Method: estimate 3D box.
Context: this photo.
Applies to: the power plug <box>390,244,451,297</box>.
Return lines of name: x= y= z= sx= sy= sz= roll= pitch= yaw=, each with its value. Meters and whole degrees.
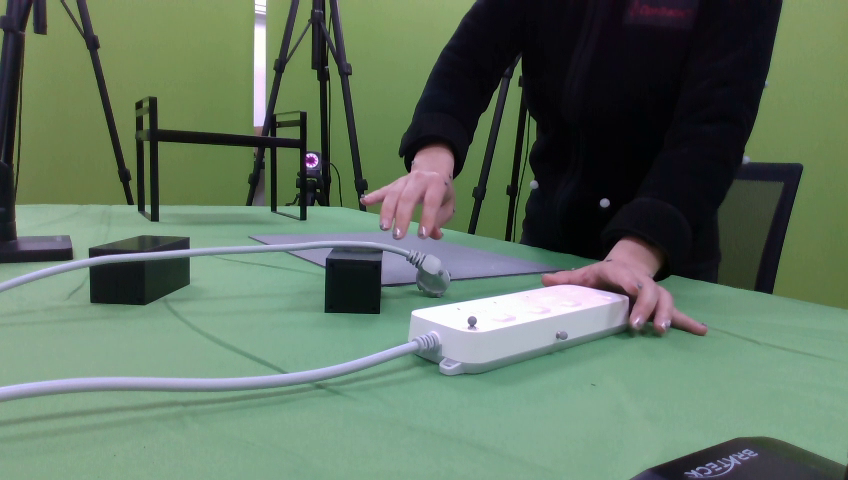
power plug: x=-0.004 y=0.029 z=0.630 sx=0.035 sy=0.072 sz=0.052 roll=-46 pitch=-6 yaw=-32

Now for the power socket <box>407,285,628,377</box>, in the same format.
power socket: x=0.083 y=0.065 z=0.485 sx=0.228 sy=0.032 sz=0.072 roll=-5 pitch=10 yaw=-42
